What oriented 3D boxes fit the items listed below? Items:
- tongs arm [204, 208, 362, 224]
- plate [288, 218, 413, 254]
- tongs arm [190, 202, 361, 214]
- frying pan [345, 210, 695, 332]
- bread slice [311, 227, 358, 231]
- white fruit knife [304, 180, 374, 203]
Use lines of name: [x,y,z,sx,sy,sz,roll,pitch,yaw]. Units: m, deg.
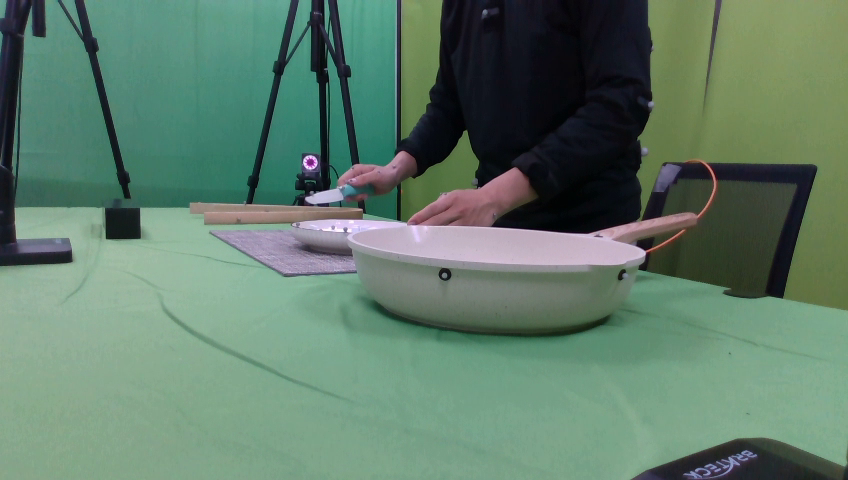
tongs arm: [-0.292,-0.054,1.337,0.390,0.028,0.028,-4,7,-40]
plate: [-0.109,-0.007,0.956,0.208,0.039,0.207,2,7,0]
tongs arm: [-0.333,-0.068,1.403,0.387,0.026,0.050,0,9,-27]
frying pan: [0.153,0.009,0.668,0.490,0.102,0.305,-12,15,-32]
bread slice: [-0.115,-0.005,0.950,0.134,0.018,0.107,3,6,-7]
white fruit knife: [-0.150,-0.088,1.091,0.016,0.027,0.208,-3,10,28]
